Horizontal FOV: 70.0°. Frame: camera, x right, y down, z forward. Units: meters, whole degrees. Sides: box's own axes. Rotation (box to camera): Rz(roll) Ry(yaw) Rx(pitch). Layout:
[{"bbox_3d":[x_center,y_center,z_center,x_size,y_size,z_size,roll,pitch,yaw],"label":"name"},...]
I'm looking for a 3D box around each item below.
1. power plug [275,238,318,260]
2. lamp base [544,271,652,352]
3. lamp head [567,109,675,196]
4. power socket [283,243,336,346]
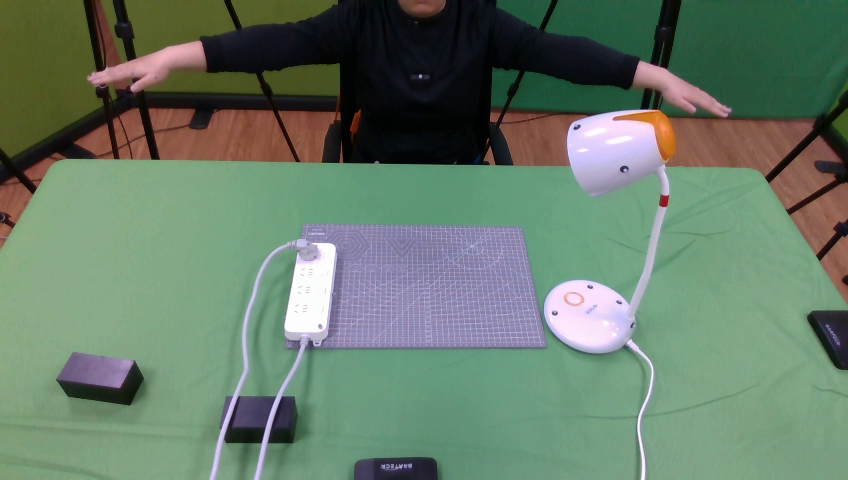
[{"bbox_3d":[-0.232,0.018,1.119,0.072,0.053,0.035,8,46,6],"label":"power plug"},{"bbox_3d":[0.309,0.086,1.029,0.178,0.181,0.160,32,52,21],"label":"lamp base"},{"bbox_3d":[0.272,-0.123,0.818,0.122,0.113,0.112,-9,35,37],"label":"lamp head"},{"bbox_3d":[-0.203,0.088,1.086,0.072,0.033,0.225,1,46,-2],"label":"power socket"}]
